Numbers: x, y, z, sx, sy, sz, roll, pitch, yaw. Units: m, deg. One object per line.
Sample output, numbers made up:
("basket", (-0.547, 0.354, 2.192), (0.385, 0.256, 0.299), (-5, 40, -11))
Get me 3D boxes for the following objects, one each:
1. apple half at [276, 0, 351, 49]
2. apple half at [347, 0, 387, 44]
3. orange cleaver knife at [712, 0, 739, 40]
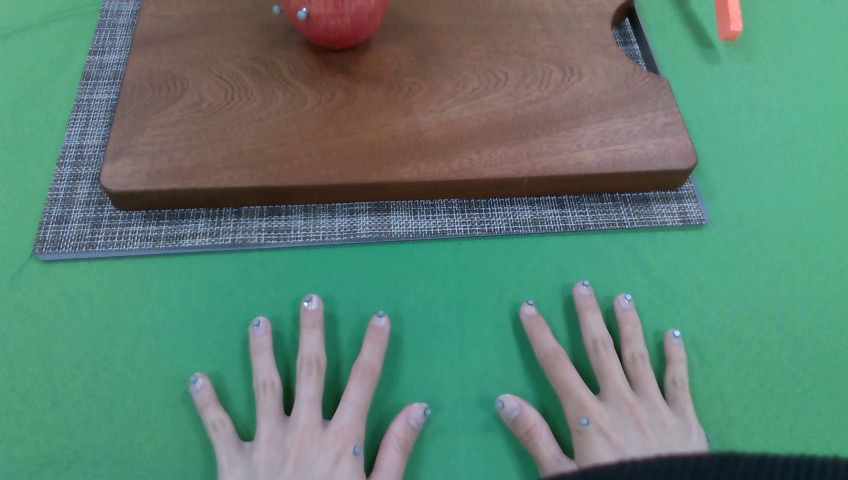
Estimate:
("apple half", (-0.081, -0.181, 0.436), (0.053, 0.075, 0.080), (-5, 64, -2))
("apple half", (-0.041, -0.184, 0.439), (0.033, 0.082, 0.080), (-5, 60, -2))
("orange cleaver knife", (0.249, -0.269, 0.534), (0.012, 0.077, 0.210), (1, 82, -6))
